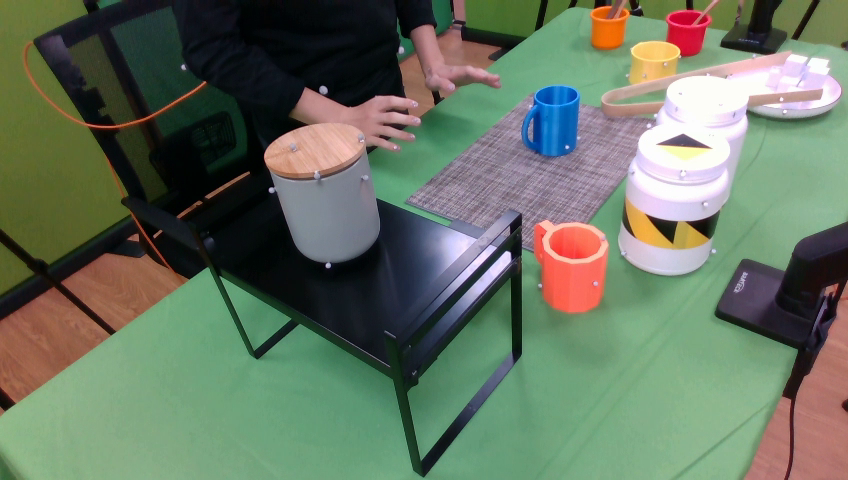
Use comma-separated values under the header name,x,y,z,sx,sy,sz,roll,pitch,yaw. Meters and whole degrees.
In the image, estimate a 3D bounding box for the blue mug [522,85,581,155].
name,x,y,z,sx,sy,sz,roll,pitch,yaw
blue mug,0.233,-0.218,1.127,0.117,0.106,0.081,-23,43,-16

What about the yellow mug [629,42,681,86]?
name,x,y,z,sx,sy,sz,roll,pitch,yaw
yellow mug,0.495,-0.389,1.321,0.100,0.064,0.130,-14,40,-6

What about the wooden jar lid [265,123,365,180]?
name,x,y,z,sx,sy,sz,roll,pitch,yaw
wooden jar lid,-0.115,-0.092,0.651,0.108,0.021,0.108,-4,38,4

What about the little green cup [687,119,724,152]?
name,x,y,z,sx,sy,sz,roll,pitch,yaw
little green cup,0.514,-0.191,1.109,0.061,0.039,0.061,-5,40,5

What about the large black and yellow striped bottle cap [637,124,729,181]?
name,x,y,z,sx,sy,sz,roll,pitch,yaw
large black and yellow striped bottle cap,0.346,-0.119,0.810,0.115,0.019,0.114,-5,41,5

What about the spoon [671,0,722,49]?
name,x,y,z,sx,sy,sz,roll,pitch,yaw
spoon,0.639,-0.510,1.380,0.193,0.022,0.041,-49,40,19

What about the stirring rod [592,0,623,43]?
name,x,y,z,sx,sy,sz,roll,pitch,yaw
stirring rod,0.460,-0.557,1.461,0.014,0.176,0.006,35,11,23

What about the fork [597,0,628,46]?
name,x,y,z,sx,sy,sz,roll,pitch,yaw
fork,0.479,-0.558,1.455,0.028,0.019,0.207,35,100,38

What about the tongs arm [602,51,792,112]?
name,x,y,z,sx,sy,sz,roll,pitch,yaw
tongs arm,0.552,-0.320,1.224,0.384,0.027,0.050,-10,43,7

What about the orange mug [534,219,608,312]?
name,x,y,z,sx,sy,sz,roll,pitch,yaw
orange mug,0.200,0.027,0.858,0.084,0.101,0.125,-24,47,-18

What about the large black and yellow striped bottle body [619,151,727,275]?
name,x,y,z,sx,sy,sz,roll,pitch,yaw
large black and yellow striped bottle body,0.354,-0.056,0.865,0.131,0.185,0.130,-4,41,4

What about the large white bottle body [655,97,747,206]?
name,x,y,z,sx,sy,sz,roll,pitch,yaw
large white bottle body,0.430,-0.148,0.959,0.130,0.185,0.130,-4,41,4

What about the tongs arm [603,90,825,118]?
name,x,y,z,sx,sy,sz,roll,pitch,yaw
tongs arm,0.546,-0.262,1.163,0.386,0.028,0.028,-1,49,18

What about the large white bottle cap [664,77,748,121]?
name,x,y,z,sx,sy,sz,roll,pitch,yaw
large white bottle cap,0.421,-0.212,0.905,0.115,0.018,0.114,-4,40,4

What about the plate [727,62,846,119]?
name,x,y,z,sx,sy,sz,roll,pitch,yaw
plate,0.709,-0.292,1.197,0.207,0.039,0.206,-4,40,4

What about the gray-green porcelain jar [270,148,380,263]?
name,x,y,z,sx,sy,sz,roll,pitch,yaw
gray-green porcelain jar,-0.109,-0.045,0.692,0.106,0.127,0.105,-4,40,4
